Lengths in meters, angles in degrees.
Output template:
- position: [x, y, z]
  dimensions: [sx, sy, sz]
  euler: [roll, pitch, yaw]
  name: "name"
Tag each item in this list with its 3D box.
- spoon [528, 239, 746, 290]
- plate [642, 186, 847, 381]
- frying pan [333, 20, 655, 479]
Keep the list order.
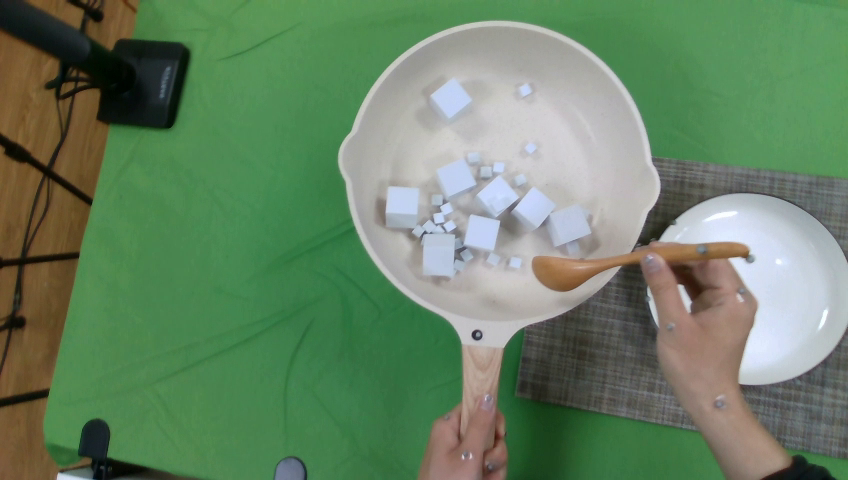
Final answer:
- position: [0.158, 0.016, 0.487]
  dimensions: [0.021, 0.193, 0.042]
  euler: [-47, 111, -38]
  name: "spoon"
- position: [0.342, 0.047, 0.658]
  dimensions: [0.207, 0.039, 0.207]
  euler: [-2, 82, 10]
  name: "plate"
- position: [0.056, 0.037, 0.581]
  dimensions: [0.307, 0.103, 0.485]
  euler: [6, 78, -1]
  name: "frying pan"
